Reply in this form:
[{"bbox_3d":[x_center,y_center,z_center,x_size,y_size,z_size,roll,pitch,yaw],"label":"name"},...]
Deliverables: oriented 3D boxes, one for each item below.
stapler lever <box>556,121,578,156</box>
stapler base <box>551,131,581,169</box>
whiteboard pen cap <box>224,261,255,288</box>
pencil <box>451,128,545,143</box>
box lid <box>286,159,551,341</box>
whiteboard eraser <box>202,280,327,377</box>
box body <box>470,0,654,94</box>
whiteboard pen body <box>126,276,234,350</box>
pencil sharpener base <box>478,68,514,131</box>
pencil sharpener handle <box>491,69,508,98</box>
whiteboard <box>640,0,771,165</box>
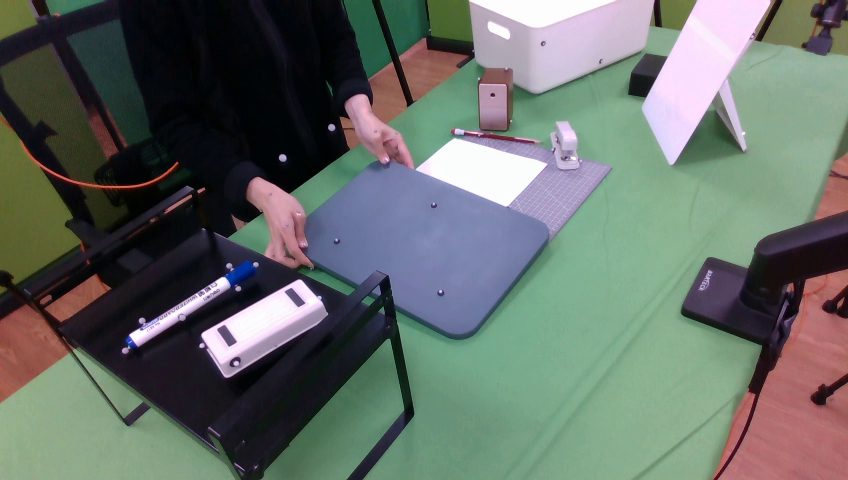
[{"bbox_3d":[0.266,-0.198,1.128,0.027,0.040,0.117,0,38,3],"label":"stapler lever"},{"bbox_3d":[0.268,-0.178,1.142,0.041,0.024,0.130,0,37,3],"label":"stapler base"},{"bbox_3d":[-0.207,0.039,0.677,0.033,0.018,0.018,-36,47,-18],"label":"whiteboard pen cap"},{"bbox_3d":[0.145,-0.207,1.204,0.193,0.012,0.012,11,44,20],"label":"pencil"},{"bbox_3d":[-0.012,-0.004,0.962,0.369,0.015,0.264,25,54,27],"label":"box lid"},{"bbox_3d":[-0.156,0.088,0.600,0.113,0.042,0.055,-30,47,-24],"label":"whiteboard eraser"},{"bbox_3d":[0.319,-0.498,1.405,0.365,0.161,0.252,-26,43,-21],"label":"box body"},{"bbox_3d":[-0.251,0.070,0.649,0.141,0.017,0.017,-36,48,-26],"label":"whiteboard pen body"},{"bbox_3d":[0.148,-0.286,1.225,0.061,0.107,0.076,5,41,15],"label":"pencil sharpener base"},{"bbox_3d":[0.155,-0.329,1.254,0.036,0.068,0.030,17,43,3],"label":"pencil sharpener handle"},{"bbox_3d":[0.543,-0.299,1.076,0.144,0.305,0.216,12,40,-7],"label":"whiteboard"}]
